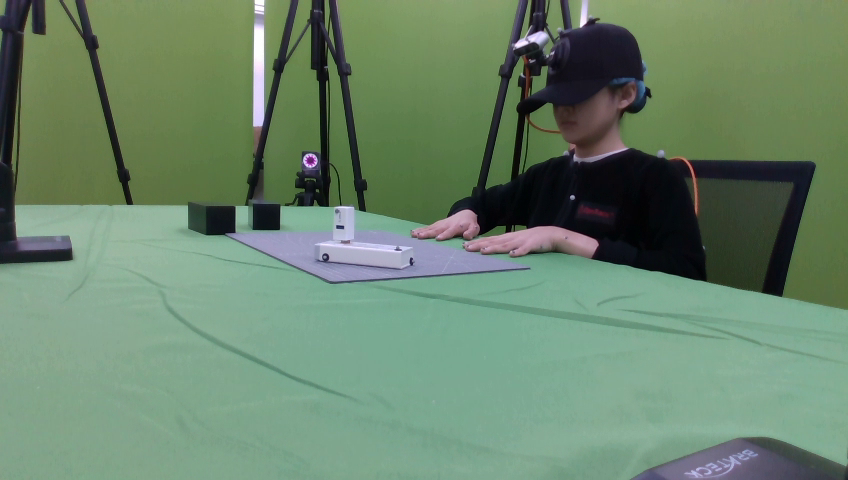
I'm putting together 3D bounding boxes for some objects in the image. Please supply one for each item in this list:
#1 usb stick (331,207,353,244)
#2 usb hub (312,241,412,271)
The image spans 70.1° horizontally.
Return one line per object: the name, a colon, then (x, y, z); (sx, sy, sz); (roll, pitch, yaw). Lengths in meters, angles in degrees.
usb stick: (-0.110, -0.014, 0.812); (0.021, 0.059, 0.027); (6, 11, 16)
usb hub: (-0.083, 0.020, 0.803); (0.125, 0.025, 0.049); (5, 8, 17)
